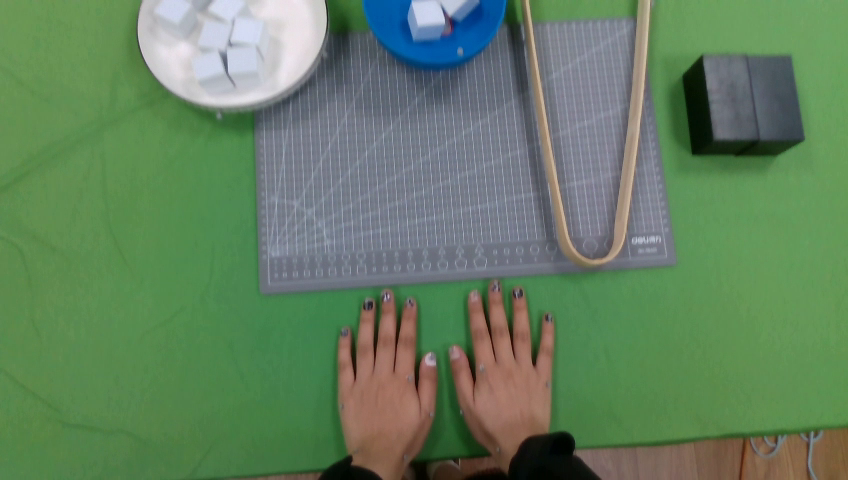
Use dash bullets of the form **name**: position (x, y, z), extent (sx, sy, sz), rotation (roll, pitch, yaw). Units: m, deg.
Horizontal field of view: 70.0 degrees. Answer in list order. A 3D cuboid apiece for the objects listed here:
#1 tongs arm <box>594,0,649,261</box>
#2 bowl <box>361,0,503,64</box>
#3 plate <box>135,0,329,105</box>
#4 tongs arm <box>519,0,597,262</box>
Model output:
- **tongs arm**: position (0.226, -0.163, 0.677), extent (0.028, 0.028, 0.386), rotation (11, 80, -7)
- **bowl**: position (0.007, -0.251, 0.660), extent (0.151, 0.077, 0.150), rotation (1, 80, -2)
- **plate**: position (-0.208, -0.243, 0.671), extent (0.208, 0.039, 0.206), rotation (0, 80, -1)
- **tongs arm**: position (0.142, -0.165, 0.671), extent (0.051, 0.026, 0.383), rotation (-3, 81, -7)
